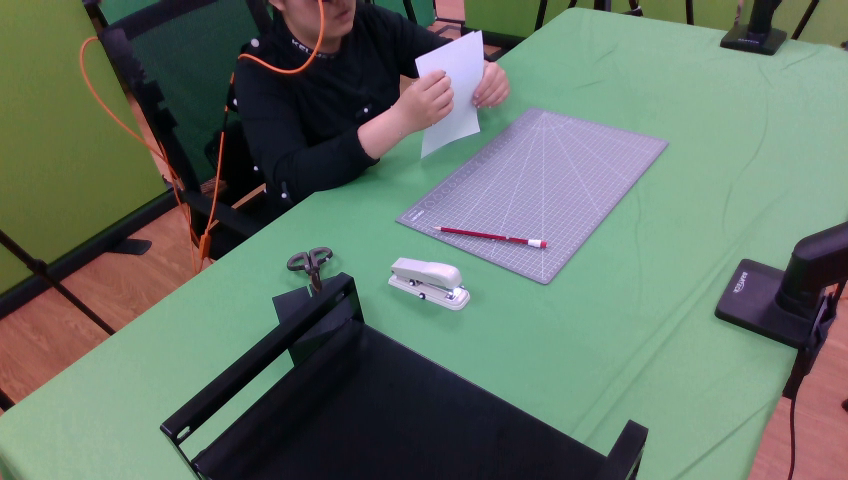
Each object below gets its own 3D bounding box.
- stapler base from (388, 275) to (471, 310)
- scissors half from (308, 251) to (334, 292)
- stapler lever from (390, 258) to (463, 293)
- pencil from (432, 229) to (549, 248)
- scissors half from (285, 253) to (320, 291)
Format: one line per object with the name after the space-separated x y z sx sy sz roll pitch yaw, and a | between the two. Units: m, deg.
0.007 0.066 0.897 0.129 0.024 0.041 17 44 29 | stapler base
-0.159 0.046 0.913 0.040 0.013 0.174 -6 18 -4 | scissors half
0.003 0.046 0.881 0.117 0.040 0.027 17 44 29 | stapler lever
0.103 -0.004 0.970 0.193 0.012 0.012 7 42 18 | pencil
-0.178 0.049 0.909 0.040 0.013 0.174 -17 20 -20 | scissors half
